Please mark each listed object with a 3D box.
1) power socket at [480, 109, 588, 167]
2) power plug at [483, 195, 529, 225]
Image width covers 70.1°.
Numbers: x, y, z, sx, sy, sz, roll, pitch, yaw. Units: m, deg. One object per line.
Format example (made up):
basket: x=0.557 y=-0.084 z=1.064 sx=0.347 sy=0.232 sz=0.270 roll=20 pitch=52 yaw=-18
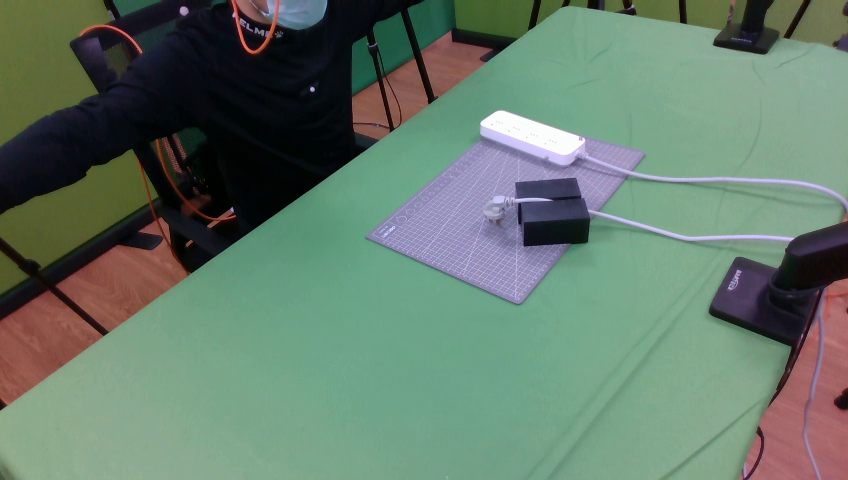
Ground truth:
power socket: x=0.203 y=-0.198 z=1.157 sx=0.225 sy=0.033 sz=0.072 roll=29 pitch=54 yaw=34
power plug: x=0.129 y=-0.044 z=0.969 sx=0.072 sy=0.053 sz=0.035 roll=14 pitch=49 yaw=26
